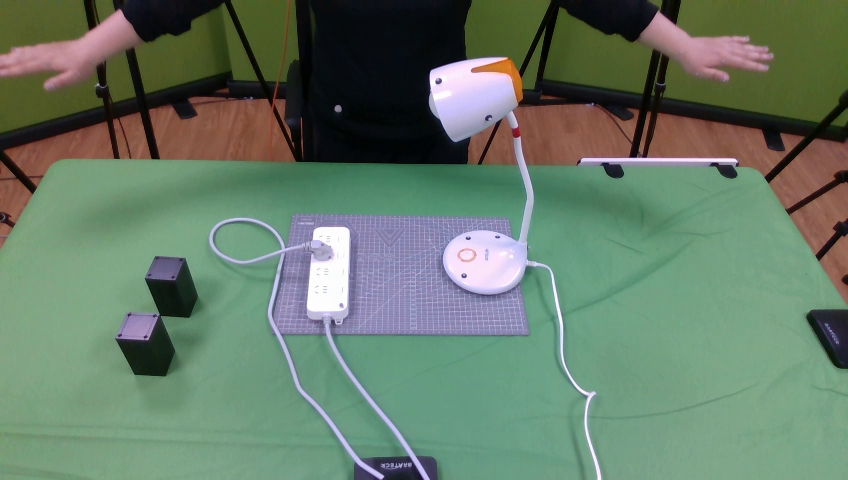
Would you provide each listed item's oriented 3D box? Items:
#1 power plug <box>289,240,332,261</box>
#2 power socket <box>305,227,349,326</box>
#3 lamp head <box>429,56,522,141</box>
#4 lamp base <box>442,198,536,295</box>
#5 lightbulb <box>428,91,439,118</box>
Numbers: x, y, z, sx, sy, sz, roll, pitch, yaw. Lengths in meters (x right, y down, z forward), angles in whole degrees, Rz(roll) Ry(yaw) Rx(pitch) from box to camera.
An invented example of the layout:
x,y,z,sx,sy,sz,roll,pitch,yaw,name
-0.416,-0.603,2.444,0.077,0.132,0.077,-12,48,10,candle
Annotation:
x,y,z,sx,sy,sz,roll,pitch,yaw,name
-0.208,0.022,1.123,0.072,0.053,0.035,5,44,5,power plug
-0.177,0.058,1.115,0.072,0.033,0.225,-1,46,-4,power socket
0.082,-0.212,0.882,0.123,0.113,0.111,-13,44,14,lamp head
0.131,-0.013,1.106,0.179,0.181,0.159,0,46,-8,lamp base
0.056,-0.213,0.888,0.107,0.060,0.059,-12,40,24,lightbulb
